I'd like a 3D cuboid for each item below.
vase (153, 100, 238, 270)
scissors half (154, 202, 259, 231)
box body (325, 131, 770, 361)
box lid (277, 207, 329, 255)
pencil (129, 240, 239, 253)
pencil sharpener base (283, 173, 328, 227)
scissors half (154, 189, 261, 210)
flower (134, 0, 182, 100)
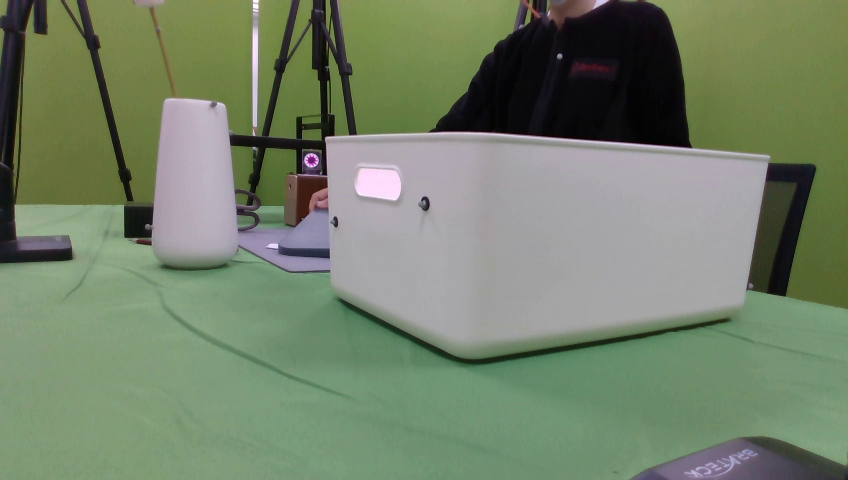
[{"bbox_3d":[-0.278,-0.066,0.736,0.098,0.200,0.098,2,9,0],"label":"vase"},{"bbox_3d":[-0.375,-0.046,1.051,0.176,0.040,0.013,13,-2,-28],"label":"scissors half"},{"bbox_3d":[0.112,-0.010,0.583,0.366,0.160,0.253,-2,9,-33],"label":"box body"},{"bbox_3d":[-0.019,-0.016,0.946,0.371,0.015,0.263,1,15,4],"label":"box lid"},{"bbox_3d":[-0.350,0.008,0.874,0.193,0.012,0.012,4,7,19],"label":"pencil"},{"bbox_3d":[-0.239,-0.081,1.231,0.077,0.107,0.061,-2,8,-36],"label":"pencil sharpener base"},{"bbox_3d":[-0.373,-0.066,1.049,0.176,0.040,0.012,-6,12,-27],"label":"scissors half"},{"bbox_3d":[-0.282,-0.146,0.712,0.038,0.362,0.044,-23,24,-31],"label":"flower"}]
